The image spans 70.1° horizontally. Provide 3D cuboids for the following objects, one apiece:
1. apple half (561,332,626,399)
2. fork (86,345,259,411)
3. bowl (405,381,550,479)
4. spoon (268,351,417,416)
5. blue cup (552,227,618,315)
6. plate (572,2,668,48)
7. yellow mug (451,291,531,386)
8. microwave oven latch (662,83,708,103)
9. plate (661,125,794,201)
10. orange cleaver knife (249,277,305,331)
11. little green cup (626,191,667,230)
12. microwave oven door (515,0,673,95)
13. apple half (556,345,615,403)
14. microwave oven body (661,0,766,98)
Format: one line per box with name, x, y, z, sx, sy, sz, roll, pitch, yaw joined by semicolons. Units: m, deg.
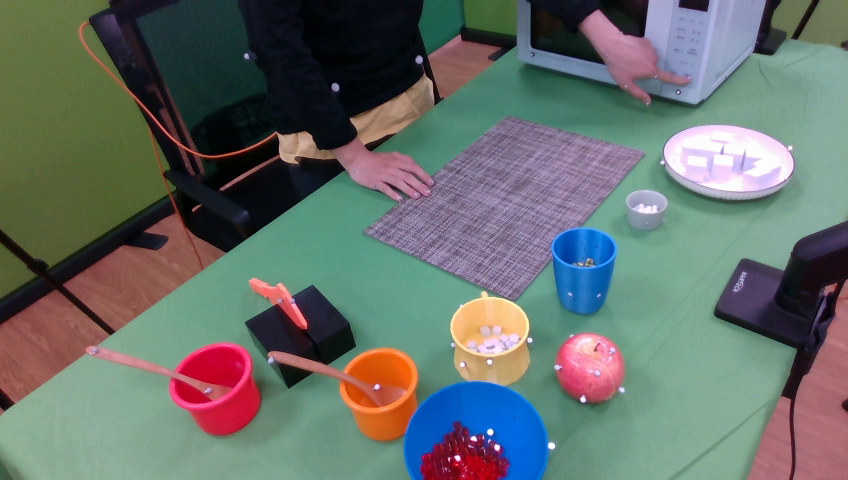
apple half;0.209;0.147;0.730;0.080;0.075;0.053;27;48;38
fork;-0.298;0.166;0.728;0.209;0.018;0.028;28;46;-23
bowl;0.058;0.235;0.645;0.151;0.077;0.150;-4;39;4
spoon;-0.090;0.162;0.699;0.021;0.195;0.041;-45;30;27
blue cup;0.218;0.047;0.826;0.092;0.101;0.092;-6;39;5
plate;0.441;-0.483;1.367;0.209;0.038;0.208;-4;41;4
yellow mug;0.085;0.120;0.786;0.100;0.064;0.130;-6;39;1
microwave oven latch;0.519;-0.297;1.205;0.078;0.029;0.030;29;53;36
plate;0.514;-0.128;1.035;0.207;0.039;0.206;-4;40;4
orange cleaver knife;-0.210;0.088;0.855;0.012;0.077;0.210;-28;15;-25
little green cup;0.352;-0.046;0.963;0.061;0.039;0.061;-4;40;4
microwave oven door;0.344;-0.455;1.259;0.353;0.245;0.039;25;51;33
apple half;0.181;0.167;0.709;0.080;0.081;0.033;29;50;35
microwave oven body;0.473;-0.513;1.317;0.438;0.261;0.327;26;51;34
